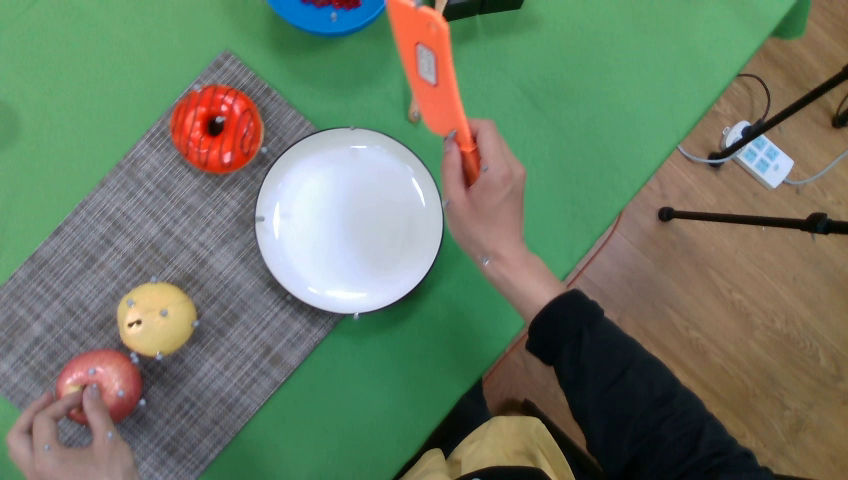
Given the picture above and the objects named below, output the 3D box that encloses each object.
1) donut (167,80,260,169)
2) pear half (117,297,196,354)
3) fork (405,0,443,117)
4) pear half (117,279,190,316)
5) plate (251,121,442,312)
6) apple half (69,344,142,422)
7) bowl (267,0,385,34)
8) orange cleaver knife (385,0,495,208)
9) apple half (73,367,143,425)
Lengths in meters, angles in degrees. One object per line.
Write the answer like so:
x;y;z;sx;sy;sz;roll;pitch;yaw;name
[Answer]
-0.230;-0.126;0.664;0.099;0.048;0.099;0;91;-2;donut
-0.278;0.091;0.624;0.076;0.110;0.056;-19;89;-1;pear half
0.008;-0.236;0.666;0.028;0.018;0.208;11;108;-11;fork
-0.288;0.058;0.634;0.070;0.088;0.031;-19;89;0;pear half
-0.084;-0.026;0.676;0.209;0.038;0.209;0;89;-4;plate
-0.338;0.146;0.638;0.053;0.074;0.081;12;94;-2;apple half
-0.105;-0.291;0.664;0.151;0.077;0.151;0;89;-5;bowl
0.016;-0.117;0.535;0.012;0.076;0.213;-39;131;-18;orange cleaver knife
-0.321;0.170;0.637;0.081;0.081;0.033;-44;89;-4;apple half
